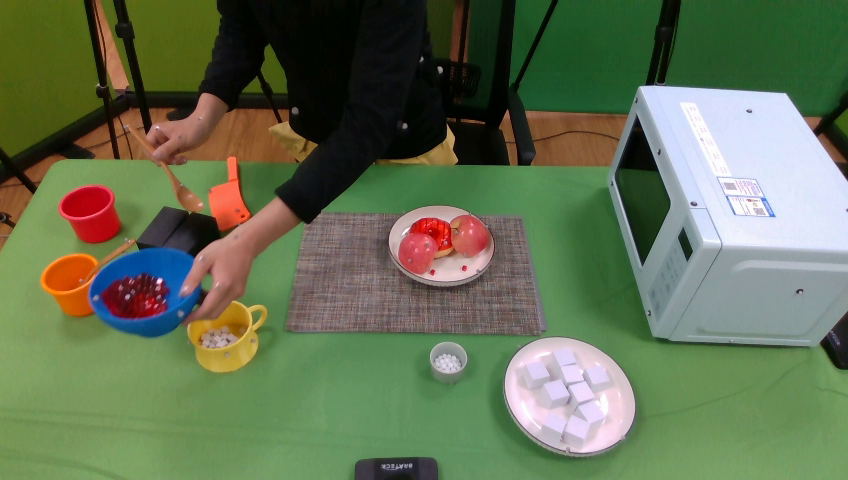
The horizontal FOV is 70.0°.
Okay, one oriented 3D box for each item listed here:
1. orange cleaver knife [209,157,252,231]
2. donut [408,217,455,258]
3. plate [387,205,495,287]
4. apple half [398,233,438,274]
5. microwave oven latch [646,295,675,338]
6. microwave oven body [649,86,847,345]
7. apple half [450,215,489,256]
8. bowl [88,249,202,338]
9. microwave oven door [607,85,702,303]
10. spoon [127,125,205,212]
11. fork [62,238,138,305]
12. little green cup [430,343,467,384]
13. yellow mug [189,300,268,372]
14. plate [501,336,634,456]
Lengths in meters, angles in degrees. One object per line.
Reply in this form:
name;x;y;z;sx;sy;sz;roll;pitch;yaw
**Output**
orange cleaver knife;-0.409;-0.099;1.266;0.077;0.012;0.210;-14;50;-10
donut;0.018;-0.006;1.174;0.099;0.048;0.098;4;42;-3
plate;0.033;0.014;1.171;0.209;0.038;0.208;2;46;-2
apple half;-0.016;0.022;1.123;0.081;0.033;0.081;-2;83;14
microwave oven latch;0.412;0.134;1.061;0.030;0.029;0.078;3;45;1
microwave oven body;0.568;-0.053;1.118;0.326;0.261;0.439;2;45;-1
apple half;0.092;-0.013;1.158;0.075;0.053;0.080;34;39;-28
bowl;-0.397;0.089;0.886;0.151;0.077;0.150;3;39;-2
microwave oven door;0.423;-0.094;1.140;0.039;0.245;0.353;2;46;-1
spoon;-0.465;-0.129;1.093;0.194;0.021;0.041;56;37;-12
fork;-0.547;0.053;1.019;0.207;0.019;0.028;-36;42;23
little green cup;0.039;0.203;0.994;0.061;0.039;0.061;2;46;-2
yellow mug;-0.315;0.148;1.001;0.131;0.064;0.099;-32;55;-31
plate;0.225;0.248;0.964;0.208;0.039;0.206;2;46;-2
